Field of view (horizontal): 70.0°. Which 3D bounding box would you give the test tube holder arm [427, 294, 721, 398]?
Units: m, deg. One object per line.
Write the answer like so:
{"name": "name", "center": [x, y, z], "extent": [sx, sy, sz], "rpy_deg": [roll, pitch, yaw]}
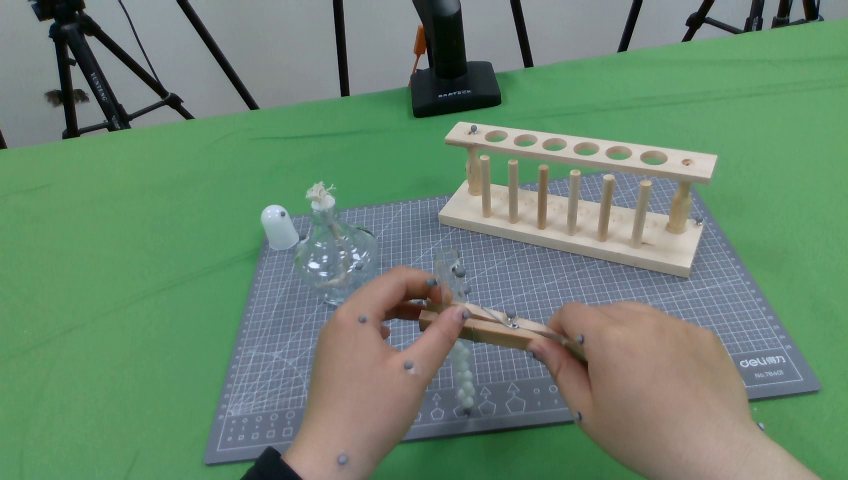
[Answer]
{"name": "test tube holder arm", "center": [0.085, 0.062, 0.369], "extent": [0.177, 0.015, 0.013], "rpy_deg": [13, 51, 18]}

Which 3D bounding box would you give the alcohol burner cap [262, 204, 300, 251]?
{"name": "alcohol burner cap", "center": [-0.151, -0.016, 0.630], "extent": [0.034, 0.048, 0.033], "rpy_deg": [-5, 41, 5]}

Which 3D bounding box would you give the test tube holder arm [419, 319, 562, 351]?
{"name": "test tube holder arm", "center": [0.041, 0.059, 0.376], "extent": [0.087, 0.015, 0.010], "rpy_deg": [3, 48, 9]}

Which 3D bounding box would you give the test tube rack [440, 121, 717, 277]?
{"name": "test tube rack", "center": [0.131, -0.044, 0.566], "extent": [0.241, 0.086, 0.066], "rpy_deg": [13, 46, 26]}

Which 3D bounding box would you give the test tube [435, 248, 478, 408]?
{"name": "test tube", "center": [0.023, 0.064, 0.398], "extent": [0.017, 0.152, 0.017], "rpy_deg": [-5, 41, 5]}

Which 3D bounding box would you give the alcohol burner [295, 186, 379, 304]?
{"name": "alcohol burner", "center": [-0.081, 0.000, 0.539], "extent": [0.078, 0.120, 0.077], "rpy_deg": [-5, 41, 5]}
